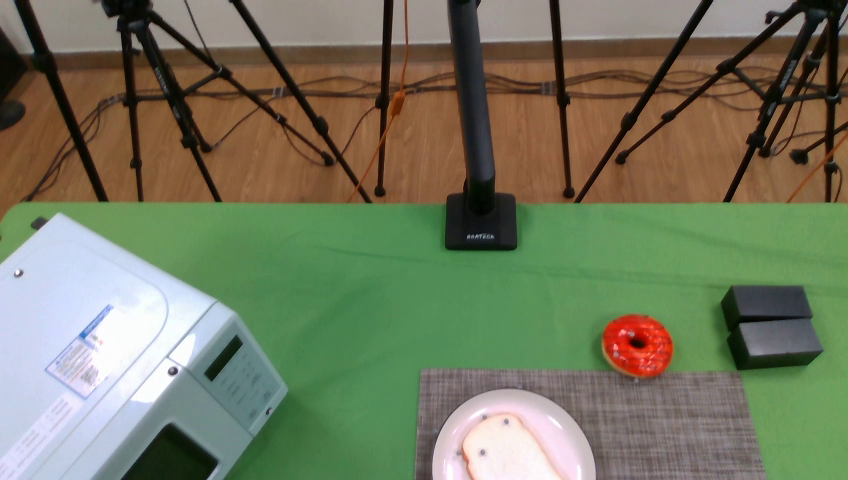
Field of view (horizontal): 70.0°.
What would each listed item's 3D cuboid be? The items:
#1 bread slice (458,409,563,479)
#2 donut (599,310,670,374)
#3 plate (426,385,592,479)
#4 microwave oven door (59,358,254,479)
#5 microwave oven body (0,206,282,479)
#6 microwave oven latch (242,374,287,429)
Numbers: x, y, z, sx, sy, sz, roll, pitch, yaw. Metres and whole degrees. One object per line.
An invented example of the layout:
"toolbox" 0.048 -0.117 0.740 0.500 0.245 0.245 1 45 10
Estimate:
"bread slice" 0.104 0.286 0.784 0.105 0.019 0.130 -25 58 -13
"donut" 0.299 0.145 0.864 0.099 0.049 0.098 -4 52 6
"plate" 0.107 0.291 0.779 0.207 0.039 0.205 -2 56 3
"microwave oven door" -0.343 0.319 0.653 0.039 0.246 0.354 24 61 20
"microwave oven body" -0.447 0.234 0.724 0.324 0.262 0.440 25 62 19
"microwave oven latch" -0.222 0.218 0.837 0.030 0.030 0.079 27 62 20
